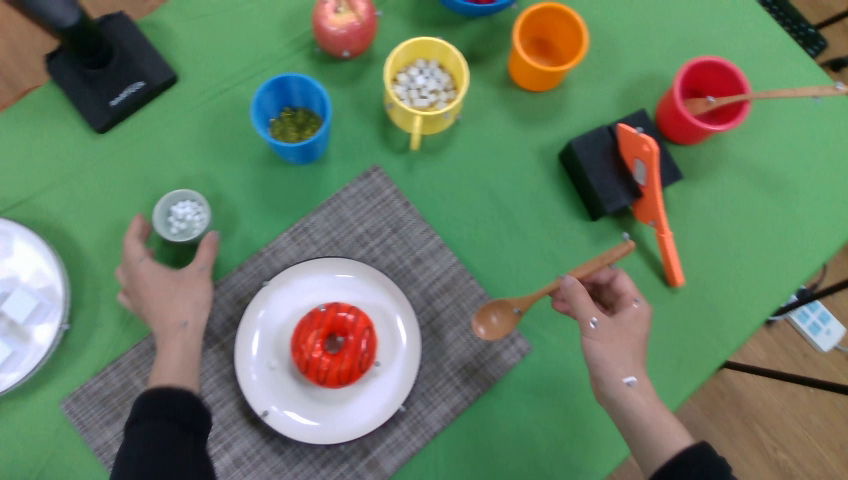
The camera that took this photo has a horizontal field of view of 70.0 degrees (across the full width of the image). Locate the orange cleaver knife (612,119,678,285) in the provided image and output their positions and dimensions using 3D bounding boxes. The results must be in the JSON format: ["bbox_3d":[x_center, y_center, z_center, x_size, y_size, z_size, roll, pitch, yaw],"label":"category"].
[{"bbox_3d":[0.265,-0.044,0.730,0.012,0.076,0.213,-24,111,-6],"label":"orange cleaver knife"}]

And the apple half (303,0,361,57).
[{"bbox_3d":[-0.120,-0.261,0.746,0.053,0.075,0.080,-34,86,-7],"label":"apple half"}]

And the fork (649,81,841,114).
[{"bbox_3d":[0.379,-0.174,0.731,0.206,0.019,0.028,0,62,38],"label":"fork"}]

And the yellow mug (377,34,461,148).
[{"bbox_3d":[-0.010,-0.176,0.742,0.100,0.064,0.130,9,80,-3],"label":"yellow mug"}]

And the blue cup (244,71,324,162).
[{"bbox_3d":[-0.156,-0.135,0.705,0.093,0.100,0.092,1,80,-6],"label":"blue cup"}]

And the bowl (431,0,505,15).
[{"bbox_3d":[0.052,-0.347,0.773,0.151,0.077,0.151,1,80,-4],"label":"bowl"}]

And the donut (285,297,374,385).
[{"bbox_3d":[-0.105,0.113,0.679,0.099,0.048,0.098,1,80,-3],"label":"donut"}]

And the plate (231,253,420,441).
[{"bbox_3d":[-0.109,0.119,0.689,0.209,0.038,0.208,1,79,-4],"label":"plate"}]

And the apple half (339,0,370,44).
[{"bbox_3d":[-0.087,-0.283,0.751,0.033,0.081,0.081,-34,83,-8],"label":"apple half"}]

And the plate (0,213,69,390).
[{"bbox_3d":[-0.498,0.071,0.671,0.208,0.039,0.206,1,79,-4],"label":"plate"}]

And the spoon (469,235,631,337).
[{"bbox_3d":[0.121,0.047,0.604,0.194,0.022,0.041,-35,70,35],"label":"spoon"}]

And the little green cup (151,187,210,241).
[{"bbox_3d":[-0.281,-0.027,0.707,0.061,0.039,0.061,1,79,-3],"label":"little green cup"}]
